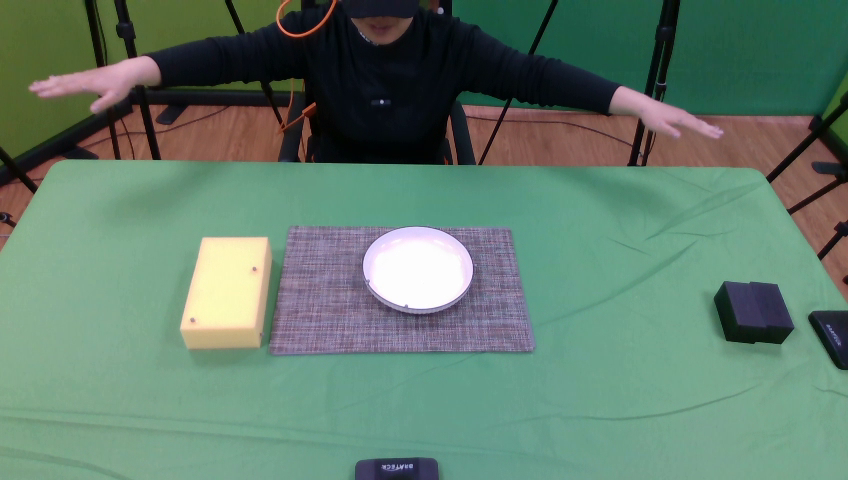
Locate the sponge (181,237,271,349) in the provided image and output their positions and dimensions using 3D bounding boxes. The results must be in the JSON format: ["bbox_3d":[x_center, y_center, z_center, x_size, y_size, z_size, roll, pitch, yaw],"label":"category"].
[{"bbox_3d":[-0.341,0.088,1.062,0.118,0.061,0.205,-2,46,-6],"label":"sponge"}]

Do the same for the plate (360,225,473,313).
[{"bbox_3d":[-0.014,0.057,1.126,0.208,0.039,0.206,2,46,-2],"label":"plate"}]
